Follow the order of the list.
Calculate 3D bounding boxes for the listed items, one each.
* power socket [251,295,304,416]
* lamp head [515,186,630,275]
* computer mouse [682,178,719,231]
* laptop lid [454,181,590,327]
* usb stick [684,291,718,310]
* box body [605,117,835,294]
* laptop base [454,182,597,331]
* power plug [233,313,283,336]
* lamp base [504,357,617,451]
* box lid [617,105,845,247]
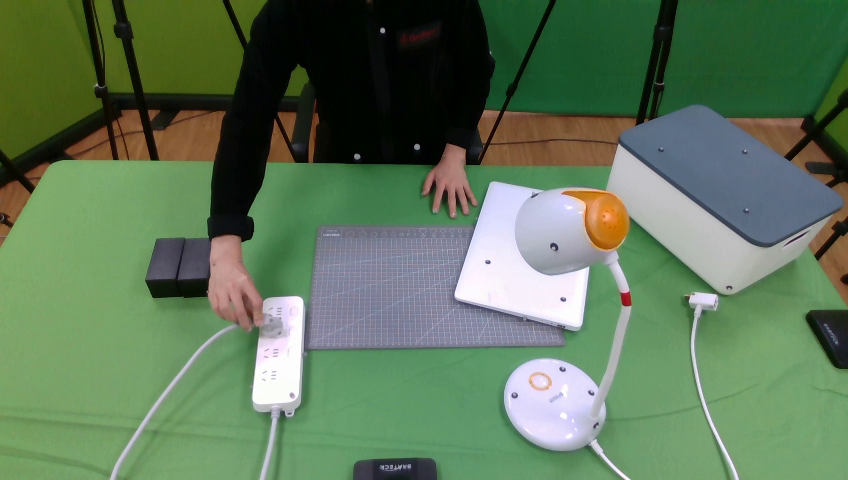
[{"bbox_3d":[-0.238,0.181,0.997,0.072,0.033,0.225,-3,47,-5],"label":"power socket"},{"bbox_3d":[0.188,-0.013,0.728,0.112,0.112,0.122,-25,9,-25],"label":"lamp head"},{"bbox_3d":[0.596,-0.078,1.290,0.117,0.041,0.062,56,44,-7],"label":"computer mouse"},{"bbox_3d":[0.210,0.010,1.193,0.241,0.013,0.355,13,46,11],"label":"laptop lid"},{"bbox_3d":[0.509,0.111,1.121,0.059,0.021,0.027,6,53,46],"label":"usb stick"},{"bbox_3d":[0.582,-0.088,1.230,0.254,0.161,0.361,-22,52,-23],"label":"box body"},{"bbox_3d":[0.211,0.019,1.202,0.235,0.023,0.352,12,46,10],"label":"laptop base"},{"bbox_3d":[-0.268,0.138,0.991,0.072,0.053,0.035,8,49,-1],"label":"power plug"},{"bbox_3d":[0.220,0.211,0.902,0.160,0.181,0.178,-33,59,-30],"label":"lamp base"},{"bbox_3d":[0.586,-0.138,1.176,0.263,0.015,0.369,-22,51,-23],"label":"box lid"}]
